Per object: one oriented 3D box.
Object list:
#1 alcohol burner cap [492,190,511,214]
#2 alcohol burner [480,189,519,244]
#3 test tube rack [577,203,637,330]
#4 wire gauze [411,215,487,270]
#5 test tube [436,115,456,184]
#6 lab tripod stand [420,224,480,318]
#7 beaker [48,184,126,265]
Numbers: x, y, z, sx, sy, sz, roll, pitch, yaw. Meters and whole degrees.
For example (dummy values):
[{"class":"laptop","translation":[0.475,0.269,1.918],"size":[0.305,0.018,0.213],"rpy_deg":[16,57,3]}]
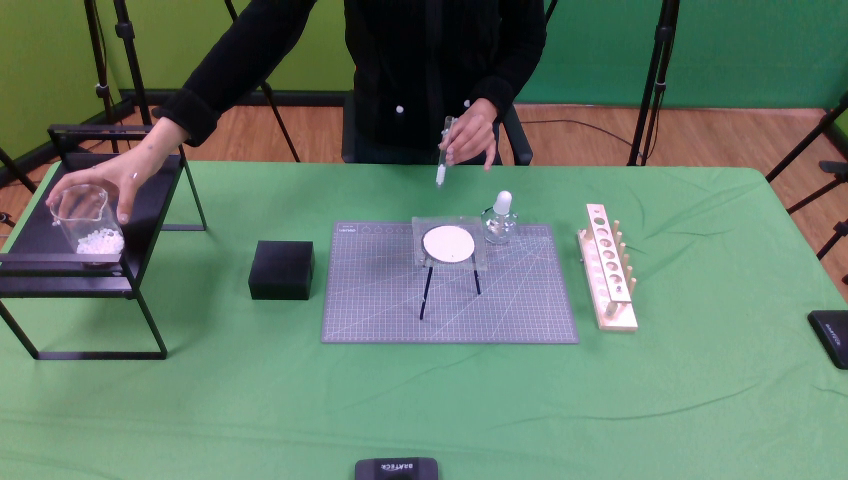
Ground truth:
[{"class":"alcohol burner cap","translation":[0.151,-0.076,1.166],"size":[0.034,0.048,0.033],"rpy_deg":[5,50,-6]},{"class":"alcohol burner","translation":[0.150,-0.051,1.191],"size":[0.078,0.120,0.077],"rpy_deg":[1,46,-1]},{"class":"test tube rack","translation":[0.349,0.044,1.139],"size":[0.067,0.085,0.241],"rpy_deg":[2,46,-2]},{"class":"wire gauze","translation":[0.041,0.002,1.026],"size":[0.125,0.011,0.120],"rpy_deg":[1,46,-3]},{"class":"test tube","translation":[0.037,-0.156,1.066],"size":[0.017,0.151,0.017],"rpy_deg":[5,47,-5]},{"class":"lab tripod stand","translation":[0.034,0.051,1.071],"size":[0.148,0.132,0.147],"rpy_deg":[3,48,-3]},{"class":"beaker","translation":[-0.478,-0.018,0.875],"size":[0.083,0.101,0.074],"rpy_deg":[30,52,22]}]
